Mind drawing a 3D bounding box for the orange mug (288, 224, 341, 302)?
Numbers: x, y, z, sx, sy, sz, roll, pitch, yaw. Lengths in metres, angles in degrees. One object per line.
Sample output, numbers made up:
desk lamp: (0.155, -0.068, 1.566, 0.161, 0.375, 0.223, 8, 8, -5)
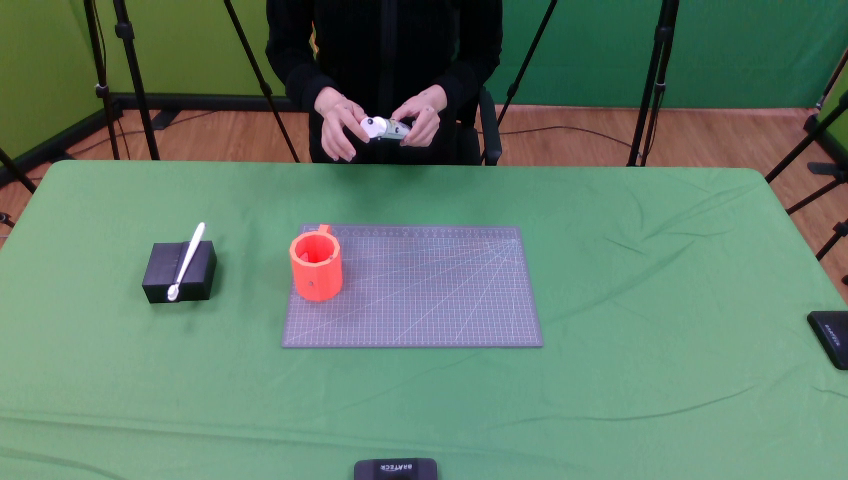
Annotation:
orange mug: (-0.192, 0.034, 1.094, 0.083, 0.101, 0.125, 7, 50, 2)

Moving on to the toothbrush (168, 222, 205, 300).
toothbrush: (-0.419, 0.032, 1.070, 0.014, 0.017, 0.180, 2, 46, 2)

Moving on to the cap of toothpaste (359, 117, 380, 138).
cap of toothpaste: (-0.091, -0.191, 1.022, 0.037, 0.037, 0.011, 14, 30, 9)

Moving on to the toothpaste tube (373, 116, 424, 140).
toothpaste tube: (-0.053, -0.201, 1.097, 0.055, 0.034, 0.165, 46, 24, 14)
